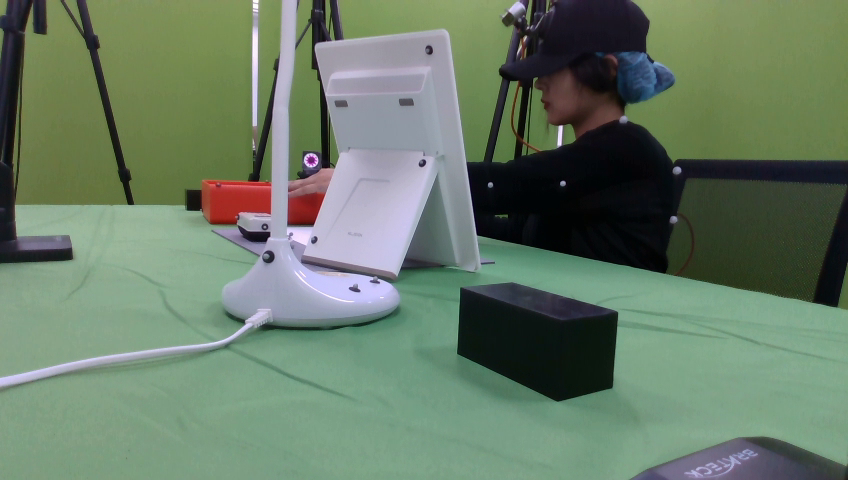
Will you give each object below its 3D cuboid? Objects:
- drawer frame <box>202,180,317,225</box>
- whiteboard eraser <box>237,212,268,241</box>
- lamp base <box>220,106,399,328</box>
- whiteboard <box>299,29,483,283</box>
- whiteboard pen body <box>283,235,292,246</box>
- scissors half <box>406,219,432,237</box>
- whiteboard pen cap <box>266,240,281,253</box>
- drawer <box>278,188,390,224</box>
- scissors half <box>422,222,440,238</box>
[{"bbox_3d":[-0.356,-0.084,1.300,0.214,0.082,0.200,-2,9,-25],"label":"drawer frame"},{"bbox_3d":[-0.272,-0.023,0.998,0.056,0.042,0.112,-3,9,-26],"label":"whiteboard eraser"},{"bbox_3d":[-0.101,-0.023,0.531,0.160,0.180,0.179,4,10,10],"label":"lamp base"},{"bbox_3d":[-0.074,-0.082,0.742,0.216,0.305,0.144,9,29,38],"label":"whiteboard"},{"bbox_3d":[-0.206,0.005,0.872,0.017,0.017,0.140,2,4,-6],"label":"whiteboard pen body"},{"bbox_3d":[-0.007,-0.022,1.215,0.040,0.013,0.174,10,9,-16],"label":"scissors half"},{"bbox_3d":[-0.202,0.009,0.813,0.018,0.018,0.033,1,3,-8],"label":"whiteboard pen cap"},{"bbox_3d":[-0.206,-0.081,1.370,0.213,0.073,0.193,0,9,-25],"label":"drawer"},{"bbox_3d":[0.013,-0.017,1.217,0.040,0.013,0.175,18,8,0],"label":"scissors half"}]
